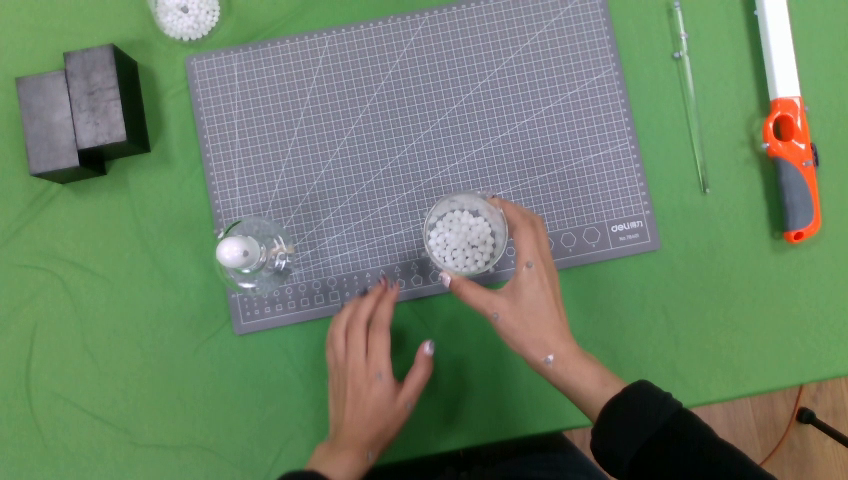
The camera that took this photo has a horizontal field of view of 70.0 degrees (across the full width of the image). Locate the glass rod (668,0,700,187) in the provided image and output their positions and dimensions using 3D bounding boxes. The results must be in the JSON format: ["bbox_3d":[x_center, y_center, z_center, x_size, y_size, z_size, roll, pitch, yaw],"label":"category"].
[{"bbox_3d":[0.274,-0.154,0.637,0.008,0.008,0.199,-8,89,0],"label":"glass rod"}]

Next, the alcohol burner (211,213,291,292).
[{"bbox_3d":[-0.169,0.010,0.575,0.078,0.119,0.078,0,86,3],"label":"alcohol burner"}]

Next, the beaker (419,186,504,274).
[{"bbox_3d":[0.035,-0.008,0.569,0.074,0.100,0.084,33,86,3],"label":"beaker"}]

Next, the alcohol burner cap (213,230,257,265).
[{"bbox_3d":[-0.170,0.007,0.539,0.034,0.048,0.034,0,89,-4],"label":"alcohol burner cap"}]

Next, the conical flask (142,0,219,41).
[{"bbox_3d":[-0.256,-0.251,0.589,0.075,0.122,0.075,0,86,1],"label":"conical flask"}]

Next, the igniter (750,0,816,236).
[{"bbox_3d":[0.369,-0.143,0.626,0.057,0.025,0.276,-6,87,-11],"label":"igniter"}]
